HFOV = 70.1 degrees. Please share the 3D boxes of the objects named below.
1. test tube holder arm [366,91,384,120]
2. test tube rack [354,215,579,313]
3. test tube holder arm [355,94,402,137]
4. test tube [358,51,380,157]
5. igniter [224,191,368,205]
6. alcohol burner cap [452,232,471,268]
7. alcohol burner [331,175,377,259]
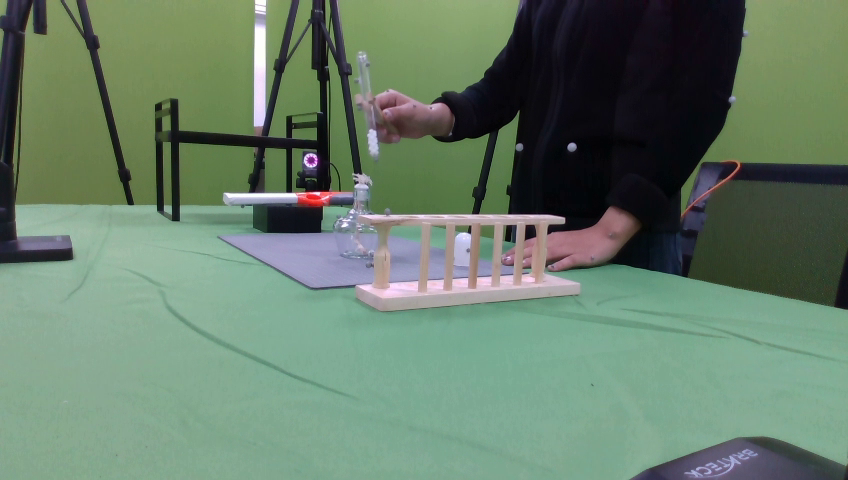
[{"bbox_3d":[-0.068,-0.189,0.858,0.010,0.015,0.088,-9,-8,5],"label":"test tube holder arm"},{"bbox_3d":[0.053,0.019,0.635,0.243,0.085,0.066,-1,8,-29],"label":"test tube rack"},{"bbox_3d":[-0.065,-0.183,0.903,0.013,0.015,0.179,-10,-8,13],"label":"test tube holder arm"},{"bbox_3d":[-0.077,-0.188,0.836,0.017,0.150,0.017,-7,-7,-1],"label":"test tube"},{"bbox_3d":[-0.237,-0.079,1.157,0.278,0.025,0.057,-2,21,-31],"label":"igniter"},{"bbox_3d":[0.053,0.014,0.823,0.034,0.048,0.034,3,6,0],"label":"alcohol burner cap"},{"bbox_3d":[-0.091,-0.033,0.855,0.078,0.119,0.078,4,7,0],"label":"alcohol burner"}]
